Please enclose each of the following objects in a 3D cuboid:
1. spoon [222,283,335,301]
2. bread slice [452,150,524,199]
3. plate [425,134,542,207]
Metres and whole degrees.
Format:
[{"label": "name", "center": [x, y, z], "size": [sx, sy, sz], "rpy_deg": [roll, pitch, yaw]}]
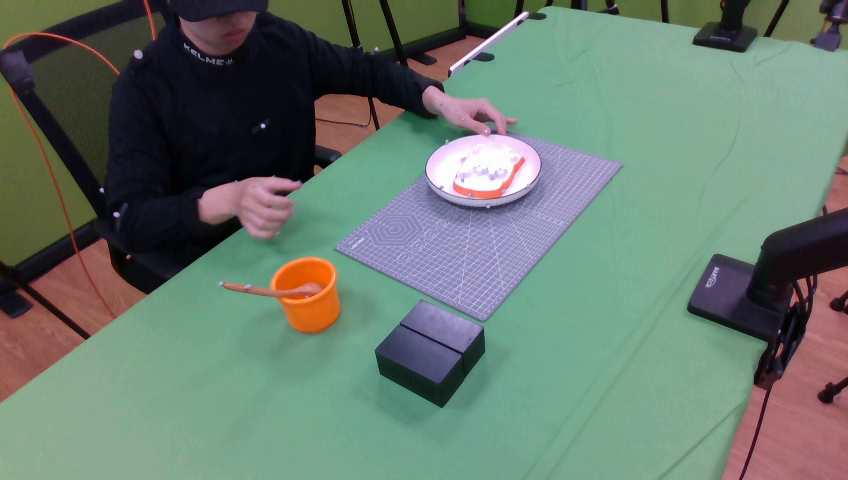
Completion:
[{"label": "spoon", "center": [-0.188, 0.070, 0.810], "size": [0.041, 0.021, 0.195], "rpy_deg": [29, 12, 33]}, {"label": "bread slice", "center": [0.112, -0.118, 1.079], "size": [0.104, 0.019, 0.131], "rpy_deg": [11, 42, 21]}, {"label": "plate", "center": [0.106, -0.121, 1.079], "size": [0.209, 0.038, 0.208], "rpy_deg": [-4, 41, 4]}]
